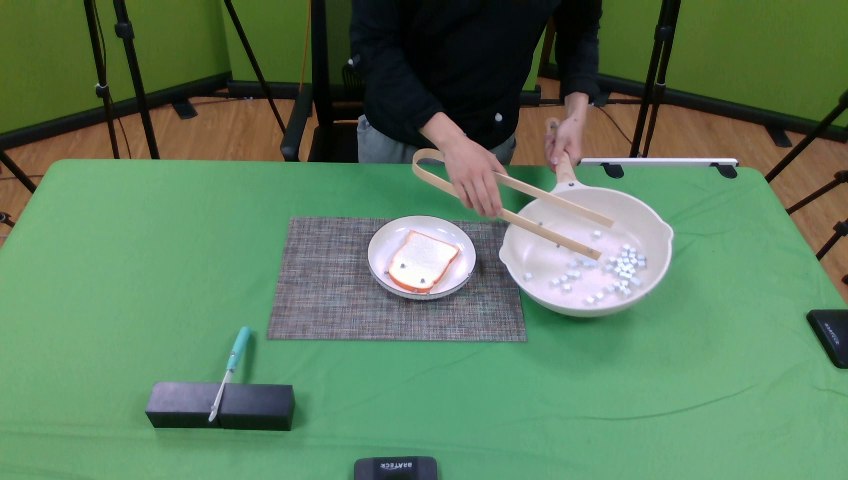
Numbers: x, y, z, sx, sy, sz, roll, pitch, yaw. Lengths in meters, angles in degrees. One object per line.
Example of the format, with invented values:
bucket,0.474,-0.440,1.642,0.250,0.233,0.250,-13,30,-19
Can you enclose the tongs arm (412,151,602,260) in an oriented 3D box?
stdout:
tongs arm,0.145,-0.065,1.101,0.384,0.026,0.050,24,58,10

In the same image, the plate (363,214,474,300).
plate,-0.010,0.036,1.146,0.208,0.039,0.206,3,46,-2

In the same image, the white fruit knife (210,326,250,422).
white fruit knife,-0.301,0.201,0.942,0.016,0.027,0.206,1,32,-1

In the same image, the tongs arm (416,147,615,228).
tongs arm,0.165,-0.099,1.127,0.387,0.028,0.028,22,61,8

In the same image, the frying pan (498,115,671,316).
frying pan,0.286,-0.065,1.167,0.307,0.103,0.485,-8,56,7

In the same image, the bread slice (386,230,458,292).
bread slice,-0.007,0.043,1.142,0.107,0.018,0.134,18,46,14
